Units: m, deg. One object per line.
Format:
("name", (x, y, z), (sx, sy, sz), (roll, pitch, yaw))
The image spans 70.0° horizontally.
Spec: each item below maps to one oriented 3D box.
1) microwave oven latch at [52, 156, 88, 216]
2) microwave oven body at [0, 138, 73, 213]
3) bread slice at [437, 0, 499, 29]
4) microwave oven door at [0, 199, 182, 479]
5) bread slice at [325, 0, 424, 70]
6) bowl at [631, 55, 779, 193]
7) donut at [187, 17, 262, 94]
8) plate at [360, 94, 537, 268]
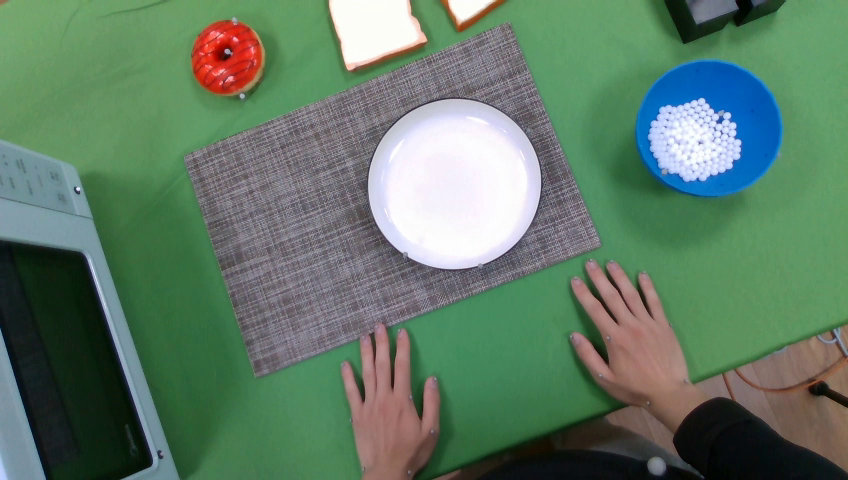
("microwave oven latch", (-0.454, -0.064, 0.764), (0.030, 0.029, 0.079), (-23, 83, 3))
("microwave oven body", (-0.535, 0.145, 0.656), (0.326, 0.261, 0.440), (-23, 83, 3))
("bread slice", (0.046, -0.346, 0.764), (0.105, 0.019, 0.131), (-35, 83, 1))
("microwave oven door", (-0.386, 0.126, 0.636), (0.039, 0.244, 0.354), (-24, 82, 4))
("bread slice", (-0.073, -0.291, 0.771), (0.107, 0.018, 0.134), (-22, 83, 3))
("bowl", (0.303, -0.120, 0.681), (0.151, 0.077, 0.151), (-1, 84, 7))
("donut", (-0.255, -0.235, 0.774), (0.099, 0.048, 0.099), (-1, 85, 9))
("plate", (0.030, -0.068, 0.724), (0.207, 0.039, 0.207), (-1, 85, 6))
